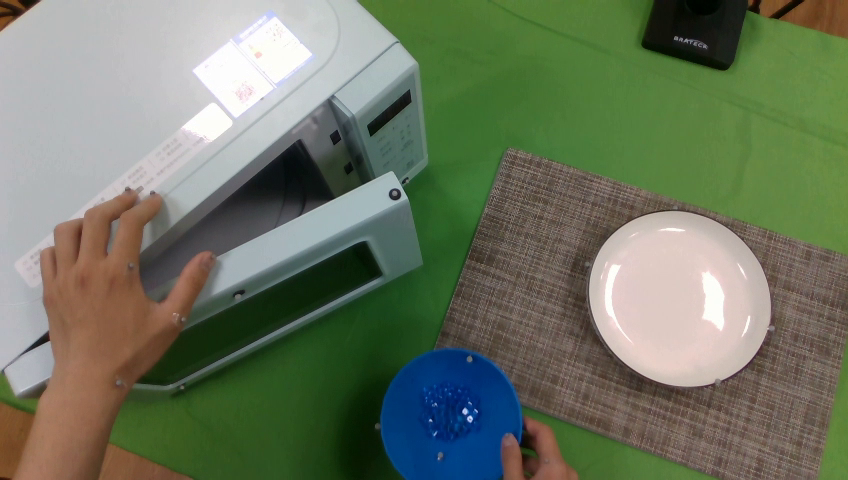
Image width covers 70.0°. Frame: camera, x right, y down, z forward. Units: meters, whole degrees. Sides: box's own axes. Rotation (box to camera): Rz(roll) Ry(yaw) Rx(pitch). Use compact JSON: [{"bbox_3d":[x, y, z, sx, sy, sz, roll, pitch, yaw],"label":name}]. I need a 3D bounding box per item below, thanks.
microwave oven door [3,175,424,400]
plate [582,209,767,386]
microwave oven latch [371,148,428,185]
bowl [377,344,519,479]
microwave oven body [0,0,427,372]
[{"bbox_3d":[-0.171,0.062,0.610,0.356,0.245,0.039,-27,74,-5],"label":"microwave oven door"},{"bbox_3d":[0.288,0.067,0.711,0.207,0.039,0.206,0,75,2],"label":"plate"},{"bbox_3d":[-0.030,-0.091,0.749,0.079,0.029,0.030,-41,78,-7],"label":"microwave oven latch"},{"bbox_3d":[0.028,0.195,0.672,0.151,0.077,0.150,-1,74,5],"label":"bowl"},{"bbox_3d":[-0.265,-0.102,0.661,0.441,0.261,0.324,-42,78,-8],"label":"microwave oven body"}]
